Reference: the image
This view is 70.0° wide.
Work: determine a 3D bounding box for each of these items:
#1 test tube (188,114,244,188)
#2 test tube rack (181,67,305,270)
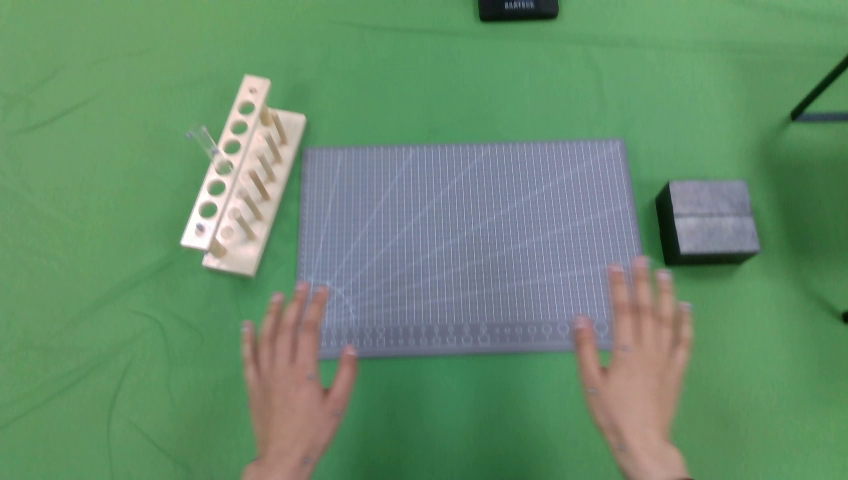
[{"bbox_3d":[-0.247,-0.103,0.731,0.017,0.151,0.017,-1,67,3],"label":"test tube"},{"bbox_3d":[-0.226,-0.093,0.780,0.067,0.086,0.241,12,71,4],"label":"test tube rack"}]
